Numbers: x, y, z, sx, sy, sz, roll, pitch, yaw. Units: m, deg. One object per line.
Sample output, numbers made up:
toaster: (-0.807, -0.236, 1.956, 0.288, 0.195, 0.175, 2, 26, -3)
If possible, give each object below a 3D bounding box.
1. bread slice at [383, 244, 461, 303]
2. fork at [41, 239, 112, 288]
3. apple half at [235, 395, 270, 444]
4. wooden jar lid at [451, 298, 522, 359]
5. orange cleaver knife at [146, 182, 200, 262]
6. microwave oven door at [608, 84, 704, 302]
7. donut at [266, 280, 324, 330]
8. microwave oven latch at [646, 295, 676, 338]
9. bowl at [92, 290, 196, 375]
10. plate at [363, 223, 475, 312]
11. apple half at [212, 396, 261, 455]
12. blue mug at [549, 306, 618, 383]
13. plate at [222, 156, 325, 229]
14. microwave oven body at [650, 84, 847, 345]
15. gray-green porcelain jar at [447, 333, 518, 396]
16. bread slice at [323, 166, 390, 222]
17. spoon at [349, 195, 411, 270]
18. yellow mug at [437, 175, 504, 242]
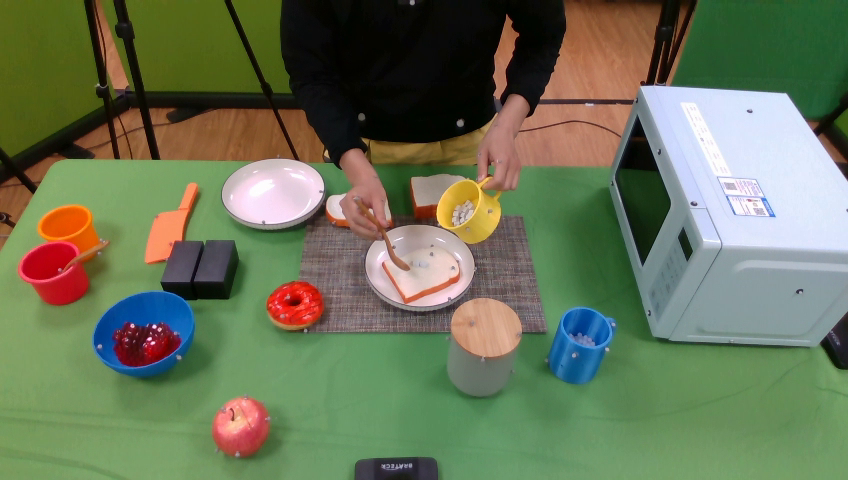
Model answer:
bread slice: (0.001, 0.055, 1.130, 0.131, 0.019, 0.104, -21, 53, -18)
fork: (-0.591, 0.040, 1.028, 0.207, 0.019, 0.028, -27, 37, 29)
apple half: (-0.245, 0.259, 0.893, 0.033, 0.082, 0.081, -29, 55, -22)
wooden jar lid: (0.093, 0.135, 0.914, 0.108, 0.021, 0.107, 3, 48, -3)
orange cleaver knife: (-0.494, -0.039, 1.198, 0.077, 0.012, 0.210, -4, 48, 2)
microwave oven door: (0.424, -0.096, 1.138, 0.039, 0.245, 0.353, 2, 47, -1)
donut: (-0.223, 0.113, 1.051, 0.099, 0.048, 0.098, 2, 45, -2)
microwave oven latch: (0.413, 0.133, 1.060, 0.030, 0.029, 0.078, 4, 46, 1)
bowl: (-0.436, 0.161, 0.971, 0.151, 0.077, 0.150, 2, 46, -2)
plate: (-0.009, 0.054, 1.126, 0.208, 0.039, 0.206, 2, 47, -2)
apple half: (-0.276, 0.276, 0.877, 0.053, 0.075, 0.080, -29, 58, -21)
blue mug: (0.269, 0.167, 0.997, 0.116, 0.106, 0.082, -19, 51, -21)
plate: (-0.308, -0.094, 1.251, 0.209, 0.038, 0.208, 2, 47, -2)
microwave oven body: (0.569, -0.054, 1.116, 0.326, 0.261, 0.439, 2, 46, -1)
gray-green porcelain jar: (0.091, 0.178, 0.960, 0.106, 0.127, 0.105, 2, 46, -2)
bread slice: (-0.140, -0.092, 1.224, 0.134, 0.018, 0.106, -19, 51, 6)
spoon: (-0.072, -0.012, 1.027, 0.021, 0.195, 0.041, -33, 39, -2)
yellow mug: (0.092, -0.065, 1.087, 0.131, 0.064, 0.099, -47, 42, 11)
